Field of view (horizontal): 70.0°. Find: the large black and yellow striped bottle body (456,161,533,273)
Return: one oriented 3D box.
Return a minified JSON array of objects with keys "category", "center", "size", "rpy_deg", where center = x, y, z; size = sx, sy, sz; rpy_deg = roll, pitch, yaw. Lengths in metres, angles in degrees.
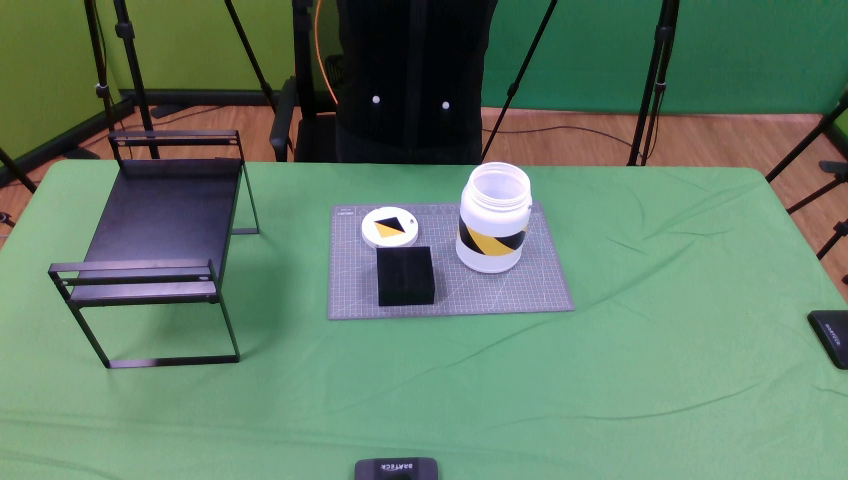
[{"category":"large black and yellow striped bottle body","center":[0.131,-0.042,1.129],"size":[0.131,0.185,0.130],"rpy_deg":[2,46,-2]}]

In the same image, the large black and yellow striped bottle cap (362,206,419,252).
[{"category":"large black and yellow striped bottle cap","center":[-0.067,-0.024,1.214],"size":[0.115,0.019,0.114],"rpy_deg":[1,47,-1]}]
